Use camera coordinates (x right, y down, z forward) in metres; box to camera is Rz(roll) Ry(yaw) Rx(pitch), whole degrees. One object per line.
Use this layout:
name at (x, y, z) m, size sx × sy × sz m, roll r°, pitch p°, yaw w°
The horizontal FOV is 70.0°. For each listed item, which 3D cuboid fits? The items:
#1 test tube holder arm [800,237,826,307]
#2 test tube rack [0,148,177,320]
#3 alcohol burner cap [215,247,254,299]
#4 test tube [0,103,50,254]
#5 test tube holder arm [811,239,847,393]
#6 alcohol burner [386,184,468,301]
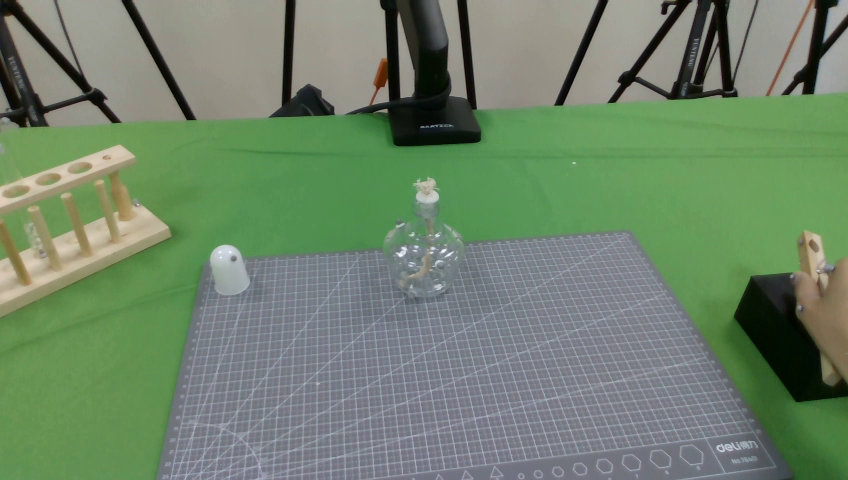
test tube holder arm at (0.344, 0.028, 0.535) m, size 0.010 × 0.015 × 0.087 m, roll 11°, pitch 39°, yaw 17°
test tube rack at (-0.367, 0.003, 0.562) m, size 0.066 × 0.086 × 0.242 m, roll 31°, pitch 46°, yaw 33°
alcohol burner cap at (-0.179, 0.028, 0.569) m, size 0.034 × 0.048 × 0.033 m, roll 2°, pitch 39°, yaw -1°
test tube at (-0.368, -0.052, 0.552) m, size 0.017 × 0.151 × 0.017 m, roll 1°, pitch 32°, yaw 0°
test tube holder arm at (0.335, 0.055, 0.500) m, size 0.013 × 0.015 × 0.177 m, roll 10°, pitch 39°, yaw 15°
alcohol burner at (0.004, -0.002, 0.556) m, size 0.078 × 0.120 × 0.077 m, roll 2°, pitch 39°, yaw -1°
